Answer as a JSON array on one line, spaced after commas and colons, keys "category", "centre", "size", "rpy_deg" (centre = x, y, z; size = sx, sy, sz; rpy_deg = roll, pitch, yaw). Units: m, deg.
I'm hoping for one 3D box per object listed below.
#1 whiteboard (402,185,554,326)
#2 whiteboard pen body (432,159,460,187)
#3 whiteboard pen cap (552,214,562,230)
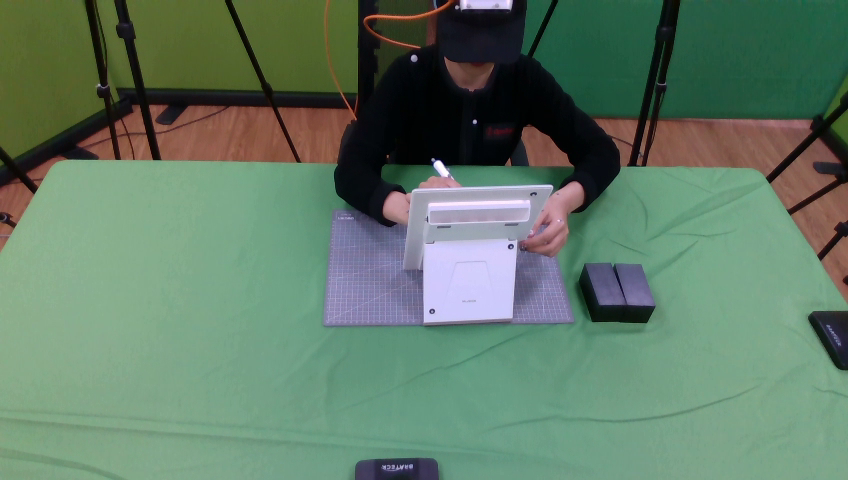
[{"category": "whiteboard", "centre": [0.081, 0.044, 1.005], "size": [0.217, 0.306, 0.143], "rpy_deg": [-1, 66, -6]}, {"category": "whiteboard pen body", "centre": [0.049, -0.091, 1.012], "size": [0.017, 0.017, 0.140], "rpy_deg": [-18, 49, -19]}, {"category": "whiteboard pen cap", "centre": [0.275, -0.037, 1.260], "size": [0.018, 0.018, 0.033], "rpy_deg": [1, 43, -2]}]
